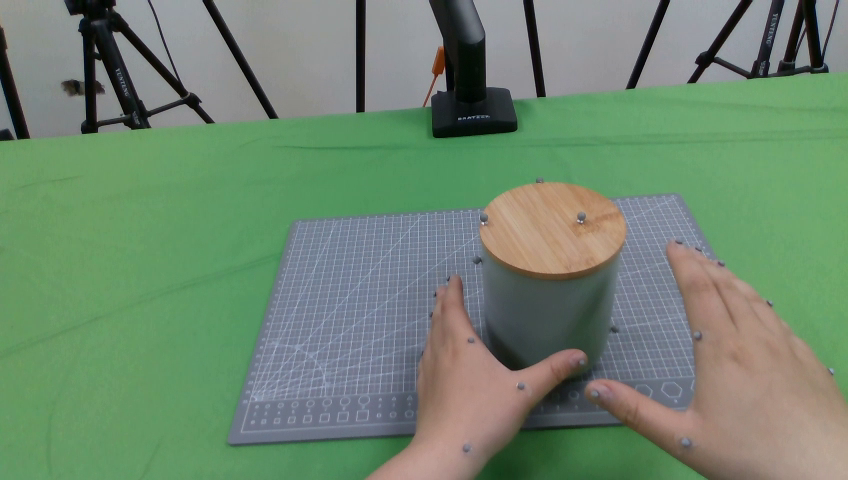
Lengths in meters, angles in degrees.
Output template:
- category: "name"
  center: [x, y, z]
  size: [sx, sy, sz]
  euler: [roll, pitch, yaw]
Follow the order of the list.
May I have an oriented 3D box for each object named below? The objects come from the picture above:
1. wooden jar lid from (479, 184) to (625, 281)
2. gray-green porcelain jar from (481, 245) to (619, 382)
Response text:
- category: "wooden jar lid"
  center: [0.095, -0.004, 0.458]
  size: [0.108, 0.021, 0.107]
  euler: [-5, 40, 4]
- category: "gray-green porcelain jar"
  center: [0.101, 0.045, 0.497]
  size: [0.106, 0.128, 0.105]
  euler: [-4, 39, 4]
